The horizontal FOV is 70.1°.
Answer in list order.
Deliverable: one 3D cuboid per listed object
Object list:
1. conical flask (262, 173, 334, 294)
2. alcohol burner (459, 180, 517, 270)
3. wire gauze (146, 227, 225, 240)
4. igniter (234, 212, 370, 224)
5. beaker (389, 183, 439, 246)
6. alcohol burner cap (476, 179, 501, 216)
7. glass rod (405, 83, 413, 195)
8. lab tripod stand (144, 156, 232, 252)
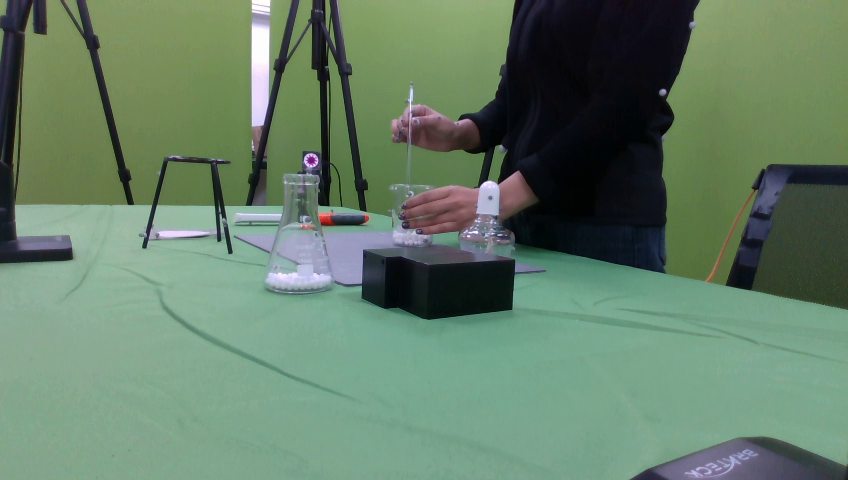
[{"bbox_3d":[-0.131,-0.009,0.633,0.075,0.122,0.075,2,8,0],"label":"conical flask"},{"bbox_3d":[0.086,-0.021,0.805,0.078,0.119,0.078,3,9,0],"label":"alcohol burner"},{"bbox_3d":[-0.400,-0.012,1.019,0.122,0.011,0.124,-1,6,-26],"label":"wire gauze"},{"bbox_3d":[-0.247,-0.046,1.253,0.278,0.025,0.057,-1,-3,-27],"label":"igniter"},{"bbox_3d":[-0.020,-0.043,0.995,0.084,0.100,0.074,4,6,16],"label":"beaker"},{"bbox_3d":[0.086,-0.056,0.801,0.034,0.048,0.034,4,2,0],"label":"alcohol burner cap"},{"bbox_3d":[-0.026,-0.170,1.011,0.008,0.199,0.008,2,-13,1],"label":"glass rod"},{"bbox_3d":[-0.325,-0.054,0.881,0.148,0.131,0.148,4,7,0],"label":"lab tripod stand"}]
